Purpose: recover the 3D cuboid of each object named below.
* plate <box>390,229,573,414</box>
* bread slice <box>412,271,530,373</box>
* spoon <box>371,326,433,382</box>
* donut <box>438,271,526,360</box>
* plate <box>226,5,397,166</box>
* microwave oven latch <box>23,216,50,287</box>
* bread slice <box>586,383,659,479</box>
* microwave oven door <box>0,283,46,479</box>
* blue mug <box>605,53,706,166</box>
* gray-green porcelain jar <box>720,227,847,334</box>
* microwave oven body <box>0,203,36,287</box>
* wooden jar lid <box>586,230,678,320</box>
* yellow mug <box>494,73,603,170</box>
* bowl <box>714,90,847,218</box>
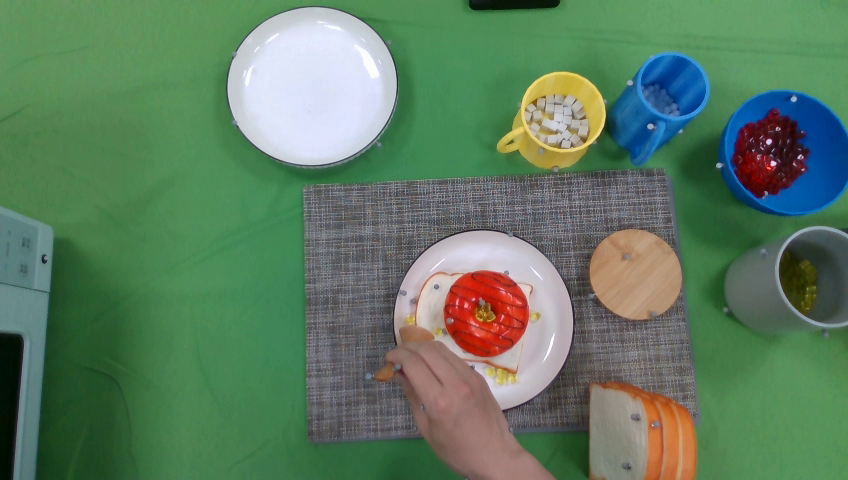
[{"bbox_3d":[0.065,0.092,0.698,0.209,0.038,0.208,0,79,-1],"label":"plate"},{"bbox_3d":[0.052,0.091,0.699,0.131,0.019,0.104,11,80,-1],"label":"bread slice"},{"bbox_3d":[-0.022,0.110,0.590,0.041,0.193,0.021,15,98,8],"label":"spoon"},{"bbox_3d":[0.064,0.083,0.671,0.099,0.048,0.098,1,78,-2],"label":"donut"},{"bbox_3d":[-0.137,-0.187,0.750,0.208,0.039,0.206,0,79,-1],"label":"plate"},{"bbox_3d":[-0.445,0.013,0.685,0.030,0.029,0.079,1,80,-1],"label":"microwave oven latch"},{"bbox_3d":[0.204,0.205,0.635,0.018,0.134,0.106,5,77,-8],"label":"bread slice"},{"bbox_3d":[-0.440,0.209,0.545,0.039,0.244,0.354,-2,79,-1],"label":"microwave oven door"},{"bbox_3d":[0.266,-0.143,0.717,0.082,0.106,0.116,17,79,3],"label":"blue mug"},{"bbox_3d":[0.402,0.050,0.673,0.106,0.127,0.105,0,79,-1],"label":"gray-green porcelain jar"},{"bbox_3d":[-0.586,0.172,0.554,0.326,0.261,0.440,-2,80,-2],"label":"microwave oven body"},{"bbox_3d":[0.246,0.042,0.721,0.108,0.021,0.108,0,80,-1],"label":"wooden jar lid"},{"bbox_3d":[0.145,-0.136,0.733,0.131,0.064,0.099,-24,80,-4],"label":"yellow mug"},{"bbox_3d":[0.411,-0.093,0.725,0.151,0.077,0.150,0,79,-1],"label":"bowl"}]
